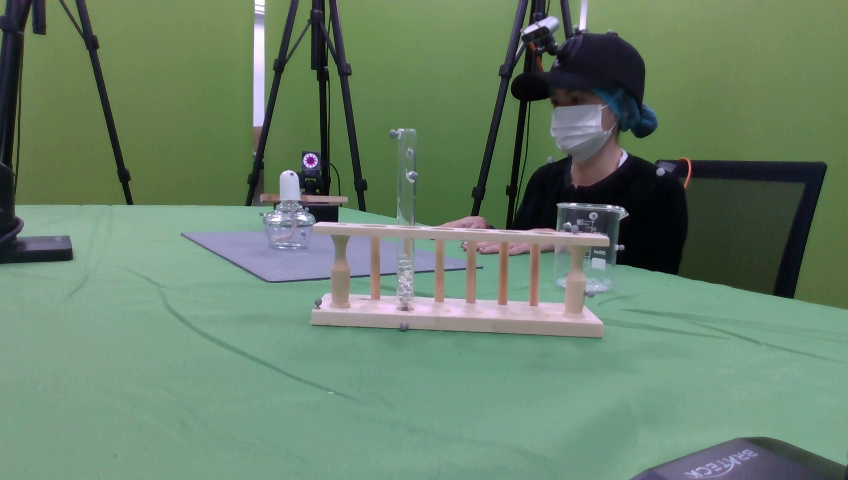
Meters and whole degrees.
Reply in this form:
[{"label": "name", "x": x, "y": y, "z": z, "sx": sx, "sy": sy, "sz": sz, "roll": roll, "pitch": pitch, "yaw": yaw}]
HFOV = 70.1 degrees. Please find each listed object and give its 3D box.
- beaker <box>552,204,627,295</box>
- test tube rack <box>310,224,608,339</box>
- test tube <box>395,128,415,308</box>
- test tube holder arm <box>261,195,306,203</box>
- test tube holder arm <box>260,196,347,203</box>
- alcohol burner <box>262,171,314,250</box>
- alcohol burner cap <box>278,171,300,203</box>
[{"label": "beaker", "x": 0.191, "y": 0.010, "z": 0.708, "sx": 0.083, "sy": 0.100, "sz": 0.074, "roll": 8, "pitch": 9, "yaw": 33}, {"label": "test tube rack", "x": 0.028, "y": 0.032, "z": 0.528, "sx": 0.242, "sy": 0.085, "sz": 0.067, "roll": 3, "pitch": 7, "yaw": 0}, {"label": "test tube", "x": -0.016, "y": -0.016, "z": 0.502, "sx": 0.017, "sy": 0.150, "sz": 0.017, "roll": 1, "pitch": 10, "yaw": 0}, {"label": "test tube holder arm", "x": -0.275, "y": -0.081, "z": 1.184, "sx": 0.088, "sy": 0.015, "sz": 0.010, "roll": -1, "pitch": 0, "yaw": -32}, {"label": "test tube holder arm", "x": -0.239, "y": -0.082, "z": 1.213, "sx": 0.179, "sy": 0.015, "sz": 0.013, "roll": -1, "pitch": -1, "yaw": -32}, {"label": "alcohol burner", "x": -0.205, "y": -0.045, "z": 0.913, "sx": 0.078, "sy": 0.119, "sz": 0.078, "roll": 1, "pitch": 9, "yaw": 0}, {"label": "alcohol burner cap", "x": -0.203, "y": -0.080, "z": 0.909, "sx": 0.034, "sy": 0.048, "sz": 0.034, "roll": -1, "pitch": 3, "yaw": 0}]
